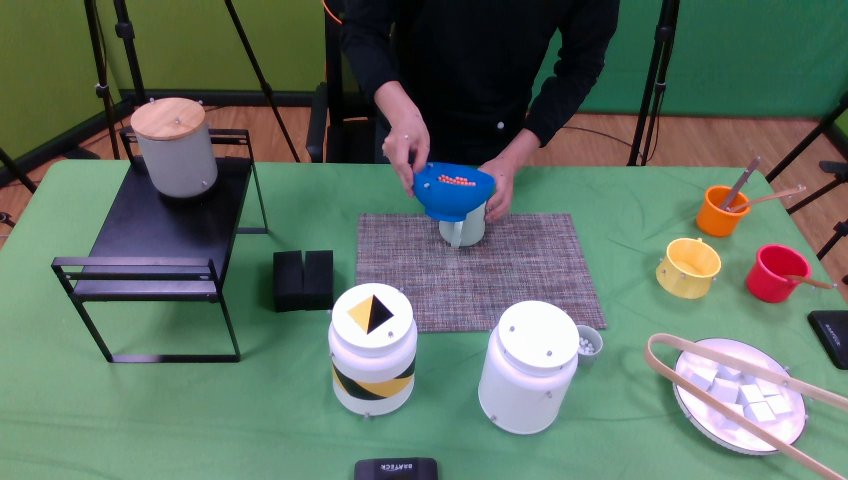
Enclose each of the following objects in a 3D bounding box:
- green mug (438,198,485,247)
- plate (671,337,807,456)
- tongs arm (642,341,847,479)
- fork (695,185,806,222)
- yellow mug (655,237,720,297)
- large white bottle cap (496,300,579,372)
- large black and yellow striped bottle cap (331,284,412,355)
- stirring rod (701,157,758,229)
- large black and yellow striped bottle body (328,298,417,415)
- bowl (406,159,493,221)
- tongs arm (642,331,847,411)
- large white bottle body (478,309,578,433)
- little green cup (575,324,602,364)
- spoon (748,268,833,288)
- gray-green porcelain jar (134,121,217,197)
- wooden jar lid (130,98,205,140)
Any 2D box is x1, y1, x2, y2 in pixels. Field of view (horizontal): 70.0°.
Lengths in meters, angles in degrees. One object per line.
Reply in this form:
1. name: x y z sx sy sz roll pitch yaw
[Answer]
1. green mug: 0.071 -0.039 1.177 0.092 0.105 0.124 12 47 7
2. plate: 0.503 0.254 0.984 0.208 0.039 0.206 2 46 -2
3. tongs arm: 0.504 0.278 0.918 0.386 0.028 0.028 34 59 22
4. fork: 0.658 -0.074 1.230 0.207 0.019 0.028 -23 36 37
5. yellow mug: 0.509 0.041 1.167 0.099 0.064 0.130 24 48 18
6. large white bottle cap: 0.160 0.133 0.852 0.115 0.018 0.114 3 46 -3
7. large black and yellow striped bottle cap: -0.073 0.110 0.858 0.115 0.019 0.114 2 46 -2
8. stirring rod: 0.634 -0.096 1.257 0.014 0.006 0.176 38 97 30
9. large black and yellow striped bottle body: -0.078 0.167 0.920 0.131 0.185 0.130 2 46 -2
10. bowl: 0.038 -0.081 1.042 0.151 0.077 0.151 8 21 -3
11. tongs arm: 0.546 0.227 0.968 0.384 0.026 0.050 22 52 13
12. large white bottle body: 0.156 0.192 0.913 0.131 0.185 0.130 2 46 -2
13. little green cup: 0.269 0.180 1.036 0.061 0.039 0.061 2 45 -2
14. spoon: 0.660 0.068 1.097 0.041 0.193 0.021 -4 91 -6
15. gray-green porcelain jar: -0.397 -0.141 0.980 0.106 0.127 0.105 2 47 -2
16. wooden jar lid: -0.393 -0.183 0.934 0.108 0.021 0.107 3 43 -2
